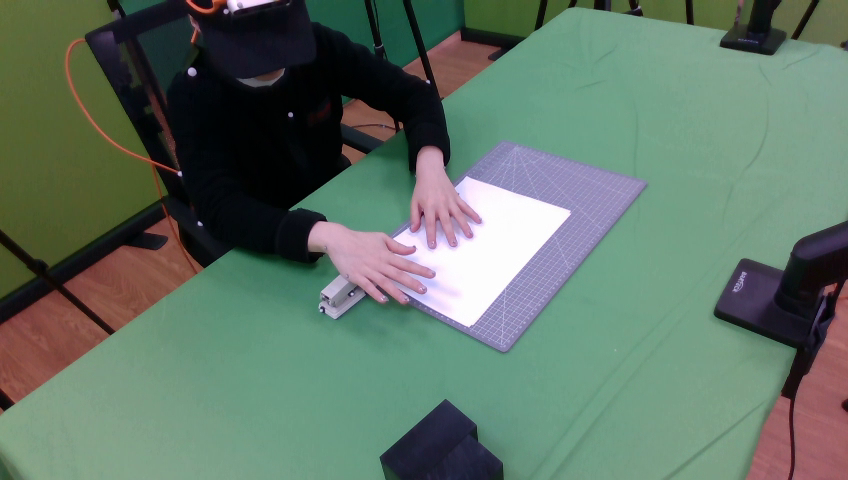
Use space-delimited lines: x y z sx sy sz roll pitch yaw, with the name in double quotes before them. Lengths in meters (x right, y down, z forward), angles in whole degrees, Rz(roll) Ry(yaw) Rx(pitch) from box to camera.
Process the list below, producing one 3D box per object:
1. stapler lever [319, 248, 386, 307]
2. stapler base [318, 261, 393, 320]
"stapler lever" -0.104 0.052 0.894 0.026 0.040 0.118 25 45 35
"stapler base" -0.102 0.065 0.907 0.041 0.024 0.131 25 52 35
